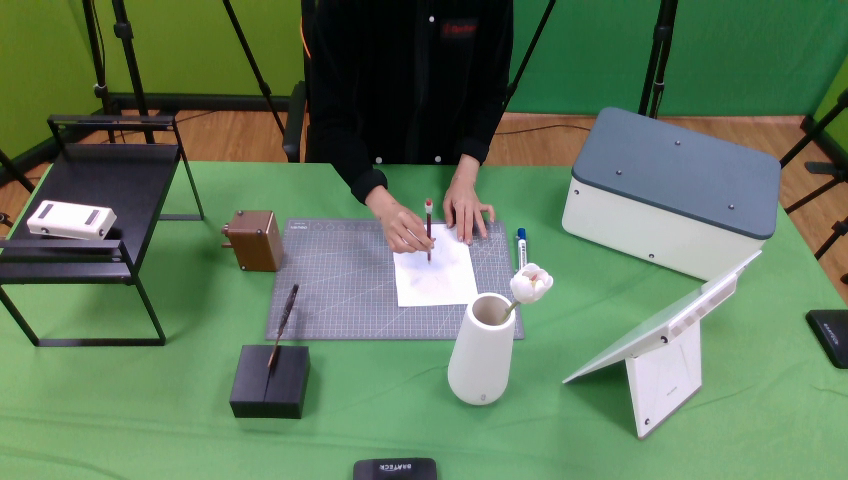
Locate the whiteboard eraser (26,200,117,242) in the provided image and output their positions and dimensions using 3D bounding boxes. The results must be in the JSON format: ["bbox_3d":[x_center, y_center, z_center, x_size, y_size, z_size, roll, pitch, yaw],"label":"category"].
[{"bbox_3d":[-0.532,-0.026,0.919,0.113,0.042,0.055,7,45,3],"label":"whiteboard eraser"}]

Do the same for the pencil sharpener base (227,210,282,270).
[{"bbox_3d":[-0.311,0.001,1.112,0.077,0.107,0.061,0,47,1],"label":"pencil sharpener base"}]

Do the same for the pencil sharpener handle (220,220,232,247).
[{"bbox_3d":[-0.362,-0.009,1.104,0.030,0.068,0.036,1,52,1],"label":"pencil sharpener handle"}]

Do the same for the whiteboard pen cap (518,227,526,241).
[{"bbox_3d":[0.197,-0.009,1.220,0.018,0.018,0.033,5,50,1],"label":"whiteboard pen cap"}]

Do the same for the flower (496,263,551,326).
[{"bbox_3d":[0.102,0.121,0.853,0.044,0.363,0.038,-2,64,-10],"label":"flower"}]

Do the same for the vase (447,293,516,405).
[{"bbox_3d":[0.091,0.169,0.921,0.098,0.201,0.097,3,47,-3],"label":"vase"}]

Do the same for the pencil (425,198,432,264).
[{"bbox_3d":[0.008,-0.010,1.057,0.012,0.195,0.012,0,56,0],"label":"pencil"}]

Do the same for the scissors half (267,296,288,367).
[{"bbox_3d":[-0.239,0.150,0.997,0.013,0.040,0.174,23,24,-13],"label":"scissors half"}]

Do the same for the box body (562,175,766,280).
[{"bbox_3d":[0.486,-0.088,1.222,0.363,0.161,0.253,20,48,15],"label":"box body"}]

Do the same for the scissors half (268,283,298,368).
[{"bbox_3d":[-0.230,0.135,0.986,0.013,0.040,0.174,19,43,-11],"label":"scissors half"}]

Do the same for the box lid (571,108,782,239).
[{"bbox_3d":[0.491,-0.139,1.168,0.370,0.015,0.262,21,49,15],"label":"box lid"}]

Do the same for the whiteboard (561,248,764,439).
[{"bbox_3d":[0.386,0.176,0.905,0.217,0.306,0.143,-26,72,-27],"label":"whiteboard"}]

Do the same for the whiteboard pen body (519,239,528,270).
[{"bbox_3d":[0.193,0.035,1.181,0.017,0.017,0.140,6,48,1],"label":"whiteboard pen body"}]
